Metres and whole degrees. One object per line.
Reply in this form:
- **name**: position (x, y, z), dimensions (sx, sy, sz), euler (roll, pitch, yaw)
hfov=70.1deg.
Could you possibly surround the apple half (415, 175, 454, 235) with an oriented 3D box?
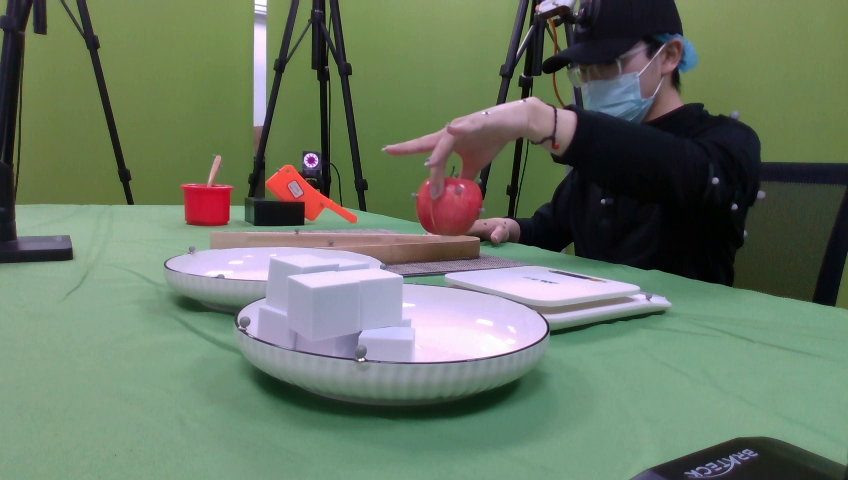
- **apple half**: position (0.021, -0.045, 0.758), dimensions (0.081, 0.074, 0.053), euler (-5, 9, -40)

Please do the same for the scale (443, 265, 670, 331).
- **scale**: position (0.131, 0.052, 0.602), dimensions (0.202, 0.031, 0.148), euler (-2, 9, -37)

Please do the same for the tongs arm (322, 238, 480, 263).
- **tongs arm**: position (-0.070, 0.017, 0.800), dimensions (0.390, 0.028, 0.028), euler (-2, 5, -34)

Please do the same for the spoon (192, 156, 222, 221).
- **spoon**: position (-0.430, -0.108, 1.222), dimensions (0.041, 0.021, 0.193), euler (-1, 52, 0)

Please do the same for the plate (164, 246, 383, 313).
- **plate**: position (-0.145, 0.038, 0.600), dimensions (0.209, 0.038, 0.209), euler (2, 7, 0)

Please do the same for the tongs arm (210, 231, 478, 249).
- **tongs arm**: position (-0.106, 0.005, 0.876), dimensions (0.386, 0.026, 0.050), euler (1, 7, -20)

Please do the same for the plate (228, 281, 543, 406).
- **plate**: position (-0.025, 0.067, 0.413), dimensions (0.208, 0.039, 0.207), euler (3, 7, 0)

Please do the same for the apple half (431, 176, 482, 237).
- **apple half**: position (0.046, -0.039, 0.729), dimensions (0.082, 0.081, 0.032), euler (-4, 8, -40)

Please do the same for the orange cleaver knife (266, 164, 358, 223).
- **orange cleaver knife**: position (-0.237, -0.082, 1.295), dimensions (0.212, 0.077, 0.012), euler (35, -9, -26)
